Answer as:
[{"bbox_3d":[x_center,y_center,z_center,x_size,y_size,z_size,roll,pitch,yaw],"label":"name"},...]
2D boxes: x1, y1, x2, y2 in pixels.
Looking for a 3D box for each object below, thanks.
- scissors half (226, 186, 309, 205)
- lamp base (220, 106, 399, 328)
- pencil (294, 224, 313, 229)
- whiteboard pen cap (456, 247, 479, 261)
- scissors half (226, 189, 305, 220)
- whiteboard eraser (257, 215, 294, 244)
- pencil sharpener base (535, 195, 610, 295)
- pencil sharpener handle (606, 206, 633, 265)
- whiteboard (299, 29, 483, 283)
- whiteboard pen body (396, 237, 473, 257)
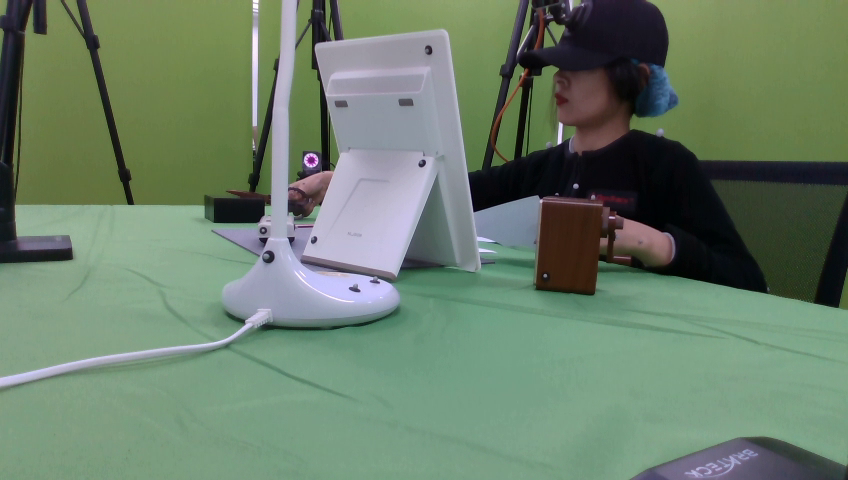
[{"bbox_3d":[-0.335,-0.099,1.304,0.176,0.040,0.013,2,10,-25],"label":"scissors half"},{"bbox_3d":[-0.102,-0.023,0.531,0.160,0.180,0.179,4,10,10],"label":"lamp base"},{"bbox_3d":[-0.221,-0.028,1.210,0.195,0.012,0.012,-5,10,-34],"label":"pencil"},{"bbox_3d":[0.060,0.020,0.851,0.033,0.018,0.018,10,10,37],"label":"whiteboard pen cap"},{"bbox_3d":[-0.341,-0.080,1.306,0.176,0.040,0.012,21,6,-27],"label":"scissors half"},{"bbox_3d":[-0.232,-0.016,0.951,0.056,0.042,0.112,1,7,-12],"label":"whiteboard eraser"},{"bbox_3d":[0.172,0.005,0.696,0.076,0.107,0.061,5,7,16],"label":"pencil sharpener base"},{"bbox_3d":[0.222,-0.004,0.683,0.030,0.068,0.036,5,21,17],"label":"pencil sharpener handle"},{"bbox_3d":[-0.074,-0.082,0.742,0.216,0.305,0.144,9,30,38],"label":"whiteboard"},{"bbox_3d":[0.014,0.012,0.886,0.140,0.017,0.017,10,10,38],"label":"whiteboard pen body"}]
